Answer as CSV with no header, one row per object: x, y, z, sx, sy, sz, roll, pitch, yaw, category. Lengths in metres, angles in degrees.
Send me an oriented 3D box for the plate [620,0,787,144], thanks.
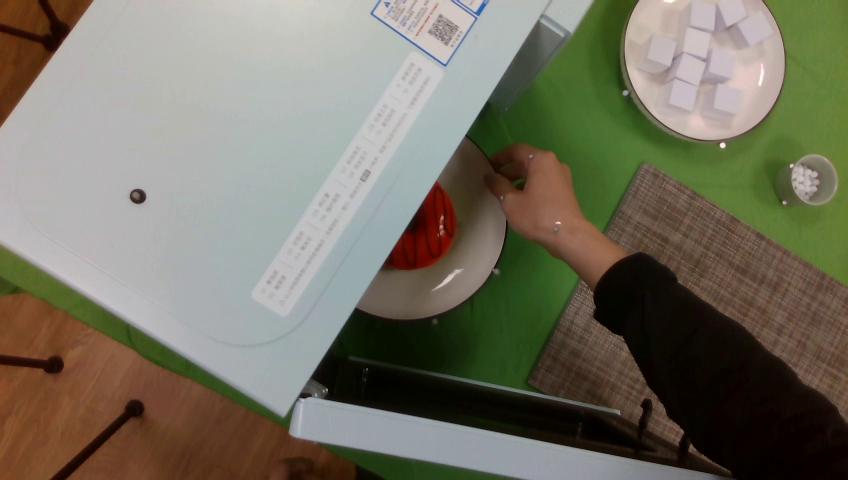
0.333,-0.217,0.732,0.208,0.039,0.207,0,88,-7,plate

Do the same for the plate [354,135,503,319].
-0.026,-0.026,0.603,0.209,0.038,0.208,1,85,-7,plate

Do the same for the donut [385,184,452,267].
-0.022,-0.022,0.591,0.099,0.048,0.099,1,86,-8,donut

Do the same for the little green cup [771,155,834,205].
0.461,-0.072,0.744,0.062,0.038,0.061,0,87,-7,little green cup

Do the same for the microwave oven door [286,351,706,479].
0.061,0.167,0.563,0.357,0.243,0.039,13,85,-7,microwave oven door

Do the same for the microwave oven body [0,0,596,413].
-0.109,-0.128,0.556,0.327,0.260,0.441,33,85,-5,microwave oven body

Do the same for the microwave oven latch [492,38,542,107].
0.099,-0.191,0.682,0.030,0.029,0.079,37,85,-5,microwave oven latch
